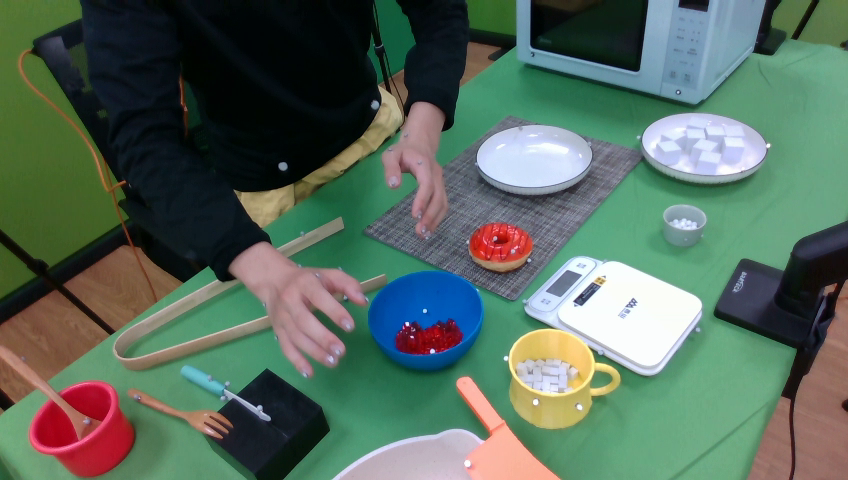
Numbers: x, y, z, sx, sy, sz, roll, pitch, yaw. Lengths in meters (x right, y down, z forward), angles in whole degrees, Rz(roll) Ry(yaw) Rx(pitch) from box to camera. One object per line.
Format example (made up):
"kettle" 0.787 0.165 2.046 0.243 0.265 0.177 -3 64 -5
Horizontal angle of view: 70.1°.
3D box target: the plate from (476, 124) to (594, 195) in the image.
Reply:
"plate" 0.199 -0.141 1.093 0.209 0.038 0.208 -4 40 4

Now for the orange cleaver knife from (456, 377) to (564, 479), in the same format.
"orange cleaver knife" 0.081 0.220 0.611 0.077 0.012 0.209 -26 43 -22

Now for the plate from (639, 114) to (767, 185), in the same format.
"plate" 0.489 -0.157 1.074 0.207 0.039 0.206 -4 40 4

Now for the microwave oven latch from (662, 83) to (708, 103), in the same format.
"microwave oven latch" 0.518 -0.296 1.204 0.078 0.029 0.030 28 52 35

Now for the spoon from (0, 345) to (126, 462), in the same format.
"spoon" -0.434 0.191 0.720 0.194 0.021 0.042 47 53 -6

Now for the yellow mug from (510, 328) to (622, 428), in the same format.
"yellow mug" 0.169 0.164 0.722 0.130 0.064 0.099 0 41 8

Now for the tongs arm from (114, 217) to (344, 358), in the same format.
"tongs arm" -0.280 0.067 0.926 0.386 0.026 0.050 -29 49 -23

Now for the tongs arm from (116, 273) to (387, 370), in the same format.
"tongs arm" -0.237 0.114 0.870 0.389 0.028 0.028 -18 49 -13

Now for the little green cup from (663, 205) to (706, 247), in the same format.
"little green cup" 0.396 -0.020 0.926 0.061 0.039 0.061 -4 40 4

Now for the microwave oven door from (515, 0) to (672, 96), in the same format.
"microwave oven door" 0.343 -0.454 1.259 0.353 0.245 0.039 26 51 33

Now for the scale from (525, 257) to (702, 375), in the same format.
"scale" 0.254 0.091 0.821 0.199 0.032 0.149 28 51 35

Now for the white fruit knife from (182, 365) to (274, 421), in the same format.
"white fruit knife" -0.245 0.188 0.747 0.205 0.027 0.016 9 39 41

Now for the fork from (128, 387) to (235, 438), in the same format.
"fork" -0.305 0.208 0.744 0.206 0.019 0.028 3 42 36

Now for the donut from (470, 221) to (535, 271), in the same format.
"donut" 0.119 0.009 0.923 0.099 0.048 0.098 -3 38 3

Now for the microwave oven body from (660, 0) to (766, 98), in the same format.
"microwave oven body" 0.472 -0.513 1.317 0.438 0.261 0.327 26 51 34

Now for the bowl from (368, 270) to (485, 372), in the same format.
"bowl" 0.007 0.118 0.791 0.151 0.077 0.150 -5 39 4

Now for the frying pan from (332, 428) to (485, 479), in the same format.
"frying pan" -0.089 0.305 0.564 0.487 0.103 0.306 10 42 8
